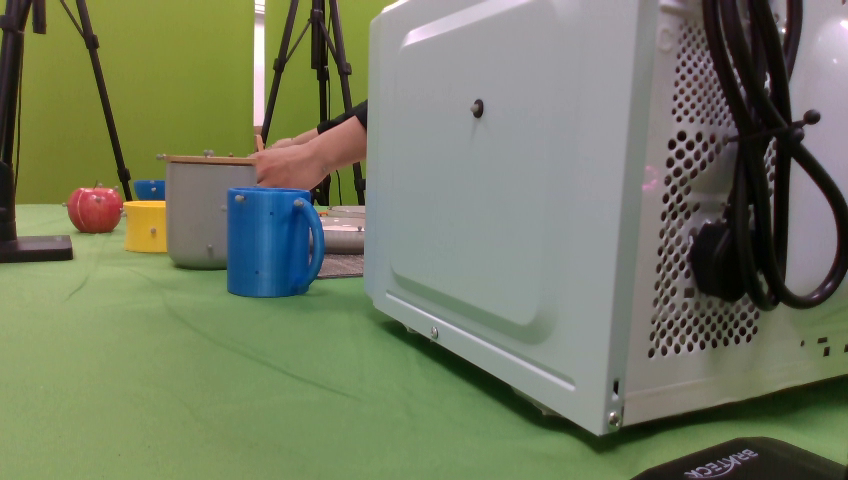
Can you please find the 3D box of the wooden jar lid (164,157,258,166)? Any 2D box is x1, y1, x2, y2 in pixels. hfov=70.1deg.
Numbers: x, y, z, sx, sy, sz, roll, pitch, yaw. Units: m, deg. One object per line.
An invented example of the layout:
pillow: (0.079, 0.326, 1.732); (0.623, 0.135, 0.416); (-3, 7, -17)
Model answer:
wooden jar lid: (-0.261, -0.093, 0.746); (0.108, 0.020, 0.108); (1, 9, 0)

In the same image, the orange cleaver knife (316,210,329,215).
orange cleaver knife: (-0.259, -0.064, 1.423); (0.212, 0.012, 0.077); (-4, 3, -30)

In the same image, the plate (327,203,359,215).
plate: (-0.102, -0.053, 1.299); (0.209, 0.038, 0.209); (2, 8, 0)

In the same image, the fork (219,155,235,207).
fork: (-0.459, -0.134, 1.415); (0.028, 0.018, 0.207); (-2, -34, -25)

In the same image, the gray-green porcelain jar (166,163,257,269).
gray-green porcelain jar: (-0.263, -0.032, 0.754); (0.106, 0.126, 0.106); (2, 8, 0)

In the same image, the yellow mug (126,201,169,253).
yellow mug: (-0.361, -0.019, 0.865); (0.130, 0.064, 0.100); (6, 8, 27)

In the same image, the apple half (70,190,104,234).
apple half: (-0.552, -0.048, 1.009); (0.053, 0.074, 0.081); (-1, 9, 26)

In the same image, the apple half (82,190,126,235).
apple half: (-0.516, -0.046, 0.994); (0.032, 0.081, 0.081); (0, 6, 26)

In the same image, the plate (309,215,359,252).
plate: (-0.130, -0.011, 0.945); (0.208, 0.039, 0.207); (2, 7, 0)

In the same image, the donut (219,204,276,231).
donut: (-0.316, -0.039, 1.083); (0.099, 0.048, 0.099); (3, 7, 0)

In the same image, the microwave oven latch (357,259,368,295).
microwave oven latch: (-0.019, 0.031, 0.529); (0.079, 0.029, 0.030); (-1, 7, -26)

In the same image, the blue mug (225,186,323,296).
blue mug: (-0.148, 0.000, 0.618); (0.116, 0.106, 0.083); (7, 9, 33)

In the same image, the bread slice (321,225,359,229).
bread slice: (-0.124, -0.009, 0.939); (0.131, 0.019, 0.105); (6, 9, 32)

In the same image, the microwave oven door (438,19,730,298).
microwave oven door: (0.181, -0.076, 0.618); (0.358, 0.243, 0.039); (-2, 8, -28)

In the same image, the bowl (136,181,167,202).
bowl: (-0.497, -0.076, 1.221); (0.151, 0.077, 0.151); (2, 8, 0)

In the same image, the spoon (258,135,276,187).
spoon: (-0.405, -0.189, 1.540); (0.042, 0.193, 0.021); (-10, -20, -10)

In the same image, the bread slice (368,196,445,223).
bread slice: (-0.040, -0.057, 1.142); (0.107, 0.018, 0.133); (-8, -8, -39)

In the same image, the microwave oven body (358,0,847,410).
microwave oven body: (0.210, -0.051, 0.471); (0.444, 0.260, 0.324); (-1, 7, -28)
